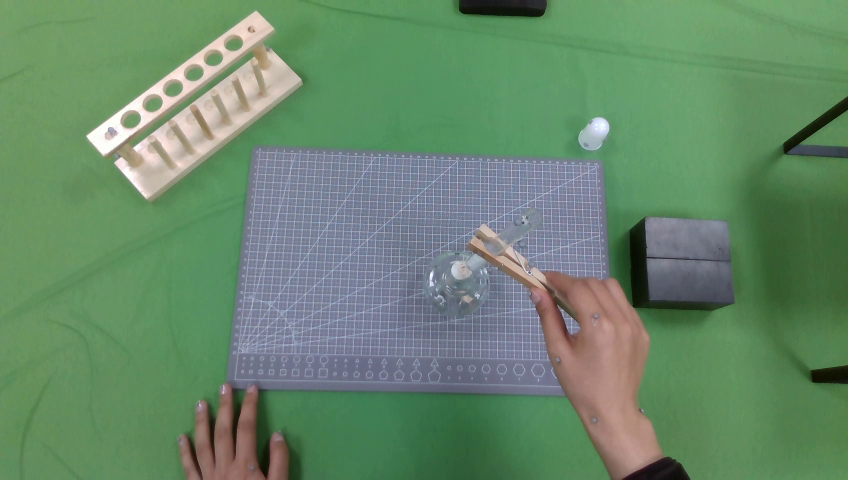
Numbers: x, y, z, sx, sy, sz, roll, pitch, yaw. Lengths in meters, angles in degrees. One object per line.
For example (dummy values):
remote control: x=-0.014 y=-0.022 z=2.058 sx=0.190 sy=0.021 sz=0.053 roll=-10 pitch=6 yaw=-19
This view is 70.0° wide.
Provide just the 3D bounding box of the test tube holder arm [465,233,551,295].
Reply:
test tube holder arm: x=0.076 y=0.022 z=0.541 sx=0.088 sy=0.015 sz=0.010 roll=32 pitch=72 yaw=-3

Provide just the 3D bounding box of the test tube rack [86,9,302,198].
test tube rack: x=-0.267 y=-0.164 z=0.731 sx=0.242 sy=0.085 sz=0.066 roll=-42 pitch=80 yaw=-13

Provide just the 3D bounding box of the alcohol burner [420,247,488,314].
alcohol burner: x=0.036 y=0.041 z=0.677 sx=0.078 sy=0.119 sz=0.077 roll=1 pitch=73 yaw=-4

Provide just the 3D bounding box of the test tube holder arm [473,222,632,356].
test tube holder arm: x=0.116 y=0.044 z=0.544 sx=0.178 sy=0.015 sz=0.013 roll=38 pitch=72 yaw=-1

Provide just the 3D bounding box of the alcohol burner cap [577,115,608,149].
alcohol burner cap: x=0.218 y=-0.141 z=0.778 sx=0.034 sy=0.048 sz=0.033 roll=1 pitch=74 yaw=-3

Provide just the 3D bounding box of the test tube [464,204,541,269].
test tube: x=0.064 y=0.001 z=0.527 sx=0.017 sy=0.150 sz=0.017 roll=4 pitch=72 yaw=-14
